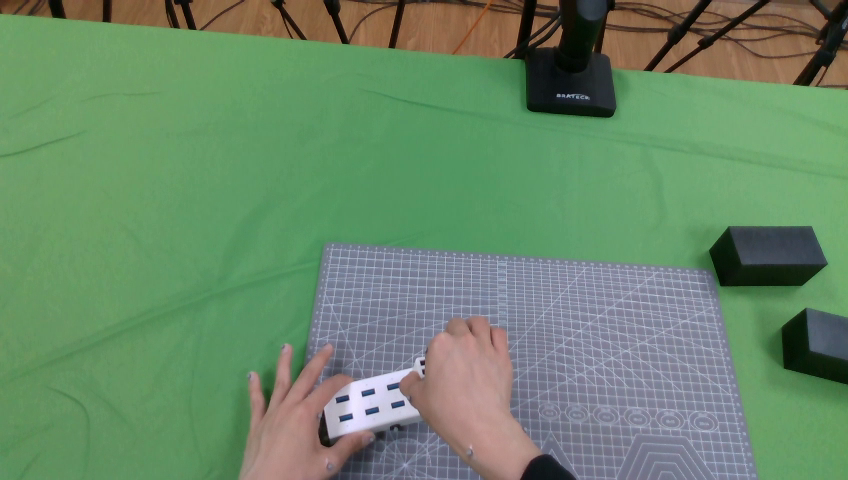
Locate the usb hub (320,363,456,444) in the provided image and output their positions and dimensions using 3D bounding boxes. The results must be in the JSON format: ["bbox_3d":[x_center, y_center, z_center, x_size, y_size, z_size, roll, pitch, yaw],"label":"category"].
[{"bbox_3d":[-0.035,0.157,0.590,0.125,0.025,0.049,-10,59,-11],"label":"usb hub"}]

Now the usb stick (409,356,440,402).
[{"bbox_3d":[0.000,0.132,0.563,0.021,0.059,0.027,-7,54,-13],"label":"usb stick"}]
